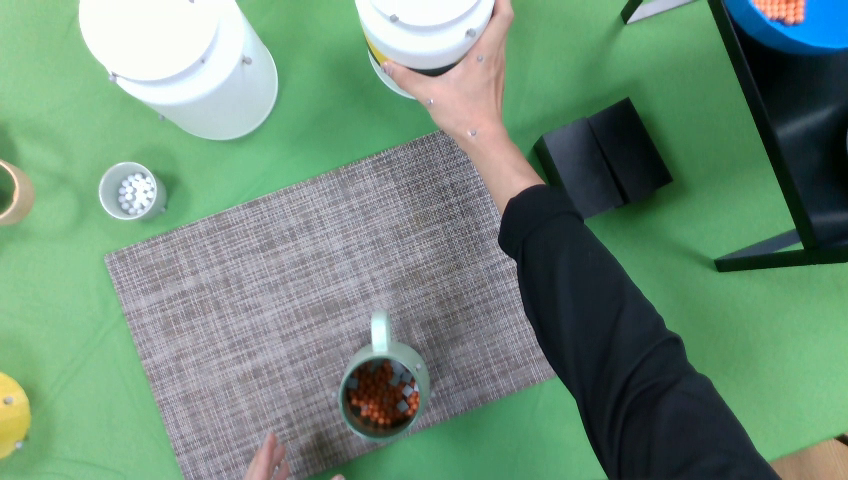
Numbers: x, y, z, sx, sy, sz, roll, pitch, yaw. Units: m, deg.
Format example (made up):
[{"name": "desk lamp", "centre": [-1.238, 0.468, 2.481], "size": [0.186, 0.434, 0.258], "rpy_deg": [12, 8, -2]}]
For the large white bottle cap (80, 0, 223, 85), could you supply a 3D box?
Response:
[{"name": "large white bottle cap", "centre": [-0.228, -0.188, 0.509], "size": [0.115, 0.018, 0.114], "rpy_deg": [0, 87, -1]}]

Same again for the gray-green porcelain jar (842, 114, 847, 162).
[{"name": "gray-green porcelain jar", "centre": [0.394, -0.087, 0.449], "size": [0.106, 0.126, 0.105], "rpy_deg": [0, 85, 0]}]

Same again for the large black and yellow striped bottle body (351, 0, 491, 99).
[{"name": "large black and yellow striped bottle body", "centre": [-0.002, -0.228, 0.600], "size": [0.131, 0.184, 0.130], "rpy_deg": [0, 86, 1]}]

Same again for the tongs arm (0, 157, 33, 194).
[{"name": "tongs arm", "centre": [-0.582, -0.131, 0.627], "size": [0.387, 0.028, 0.028], "rpy_deg": [22, 80, 2]}]

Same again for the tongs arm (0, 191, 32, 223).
[{"name": "tongs arm", "centre": [-0.601, -0.050, 0.620], "size": [0.385, 0.026, 0.050], "rpy_deg": [8, 83, 1]}]

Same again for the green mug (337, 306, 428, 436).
[{"name": "green mug", "centre": [-0.043, 0.130, 0.614], "size": [0.092, 0.105, 0.125], "rpy_deg": [-4, 86, -1]}]

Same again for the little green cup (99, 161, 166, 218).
[{"name": "little green cup", "centre": [-0.313, -0.053, 0.657], "size": [0.061, 0.038, 0.061], "rpy_deg": [0, 87, -1]}]

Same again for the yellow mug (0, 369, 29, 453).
[{"name": "yellow mug", "centre": [-0.483, 0.200, 0.625], "size": [0.100, 0.064, 0.130], "rpy_deg": [12, 87, -1]}]

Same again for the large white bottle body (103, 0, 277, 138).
[{"name": "large white bottle body", "centre": [-0.229, -0.183, 0.593], "size": [0.130, 0.185, 0.130], "rpy_deg": [0, 86, 0]}]

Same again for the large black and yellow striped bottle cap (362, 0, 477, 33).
[{"name": "large black and yellow striped bottle cap", "centre": [-0.004, -0.235, 0.516], "size": [0.115, 0.019, 0.115], "rpy_deg": [0, 87, -1]}]

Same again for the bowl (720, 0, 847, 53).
[{"name": "bowl", "centre": [0.292, -0.211, 0.478], "size": [0.151, 0.077, 0.151], "rpy_deg": [0, 86, -2]}]
